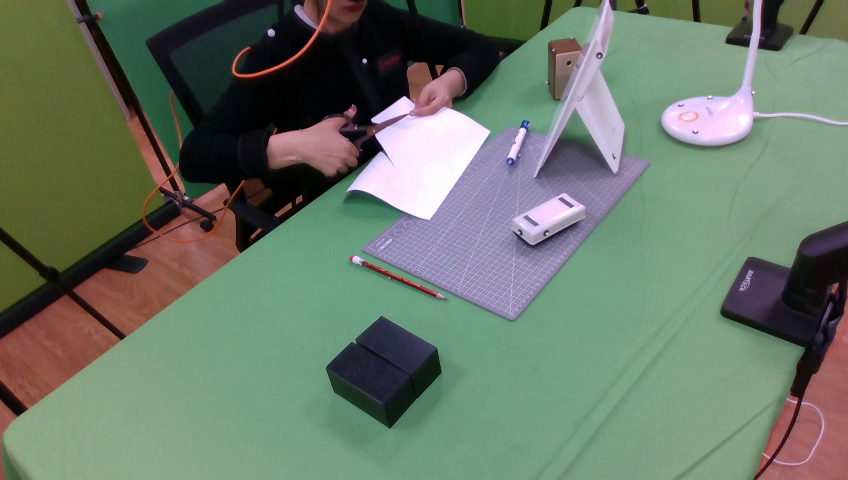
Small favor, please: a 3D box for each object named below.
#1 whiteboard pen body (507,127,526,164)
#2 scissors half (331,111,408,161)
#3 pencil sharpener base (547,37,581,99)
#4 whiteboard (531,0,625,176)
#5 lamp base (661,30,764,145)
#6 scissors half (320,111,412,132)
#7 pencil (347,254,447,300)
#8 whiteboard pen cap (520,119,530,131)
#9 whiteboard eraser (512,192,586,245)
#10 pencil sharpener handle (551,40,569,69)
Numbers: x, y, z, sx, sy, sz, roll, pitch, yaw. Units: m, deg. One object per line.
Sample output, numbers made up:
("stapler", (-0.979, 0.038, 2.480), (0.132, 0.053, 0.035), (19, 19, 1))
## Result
("whiteboard pen body", (0.181, -0.189, 1.163), (0.017, 0.017, 0.140), (7, 42, 19))
("scissors half", (-0.105, -0.204, 1.177), (0.175, 0.040, 0.012), (-32, 27, 10))
("pencil sharpener base", (0.299, -0.368, 1.290), (0.061, 0.107, 0.076), (-8, 40, 2))
("whiteboard", (0.320, -0.258, 1.050), (0.144, 0.306, 0.217), (22, 45, 5))
("lamp base", (0.535, -0.287, 1.096), (0.179, 0.181, 0.159), (-10, 40, -4))
("scissors half", (-0.111, -0.225, 1.165), (0.176, 0.040, 0.013), (3, 32, -9))
("pencil", (-0.044, 0.058, 0.933), (0.192, 0.012, 0.012), (22, 49, 29))
("whiteboard pen cap", (0.200, -0.226, 1.204), (0.018, 0.018, 0.033), (7, 42, 18))
("whiteboard eraser", (0.199, -0.032, 0.962), (0.113, 0.042, 0.055), (-27, 43, -20))
("pencil sharpener handle", (0.291, -0.409, 1.321), (0.036, 0.068, 0.030), (2, 40, -6))
